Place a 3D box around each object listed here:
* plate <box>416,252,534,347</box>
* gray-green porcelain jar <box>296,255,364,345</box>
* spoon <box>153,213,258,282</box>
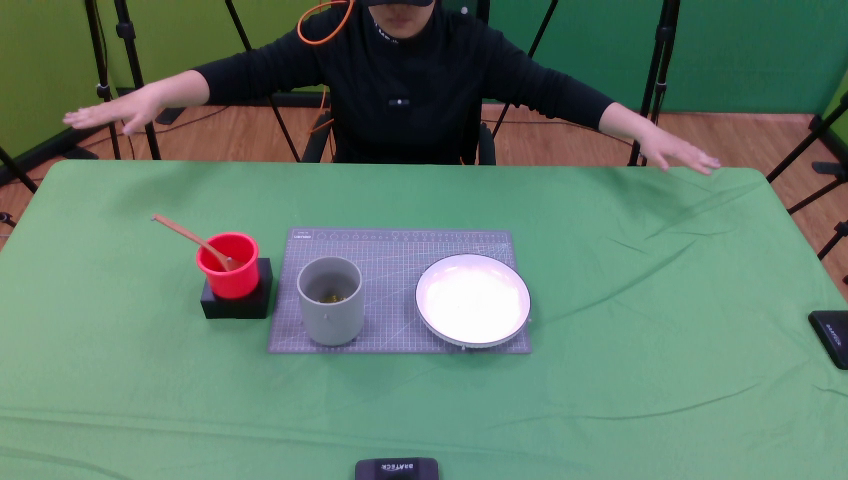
[{"bbox_3d":[0.090,0.109,1.084,0.208,0.039,0.206,2,46,-2],"label":"plate"},{"bbox_3d":[-0.154,0.105,1.008,0.106,0.127,0.105,2,46,-2],"label":"gray-green porcelain jar"},{"bbox_3d":[-0.360,0.011,1.005,0.195,0.021,0.041,41,37,-26],"label":"spoon"}]
